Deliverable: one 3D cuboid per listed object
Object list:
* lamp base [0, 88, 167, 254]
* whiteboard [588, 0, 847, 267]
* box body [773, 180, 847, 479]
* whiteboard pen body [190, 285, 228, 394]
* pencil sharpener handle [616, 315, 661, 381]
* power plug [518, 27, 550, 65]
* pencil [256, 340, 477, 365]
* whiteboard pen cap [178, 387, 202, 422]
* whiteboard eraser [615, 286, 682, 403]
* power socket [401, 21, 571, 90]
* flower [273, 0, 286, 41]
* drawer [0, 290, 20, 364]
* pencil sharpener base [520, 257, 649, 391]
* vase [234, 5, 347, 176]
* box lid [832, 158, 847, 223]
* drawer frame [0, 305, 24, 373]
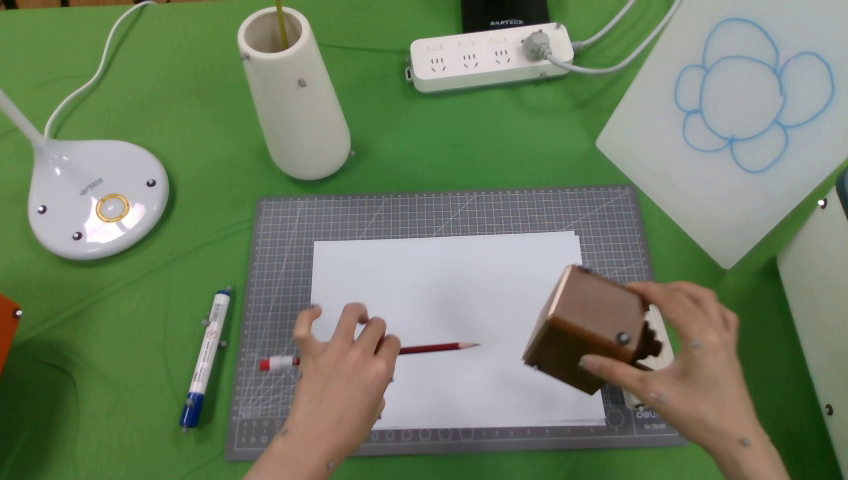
[{"bbox_3d":[-0.398,-0.096,0.650,0.178,0.182,0.160,28,66,18],"label":"lamp base"},{"bbox_3d":[0.356,-0.160,0.631,0.144,0.307,0.215,-23,62,-31],"label":"whiteboard"},{"bbox_3d":[0.502,0.115,0.534,0.254,0.161,0.361,-3,63,0],"label":"box body"},{"bbox_3d":[-0.225,0.112,0.629,0.017,0.017,0.139,2,60,3],"label":"whiteboard pen body"},{"bbox_3d":[0.181,0.092,0.495,0.030,0.068,0.036,25,53,9],"label":"pencil sharpener handle"},{"bbox_3d":[0.137,-0.236,0.766,0.035,0.053,0.072,2,65,3],"label":"power plug"},{"bbox_3d":[-0.049,0.098,0.537,0.194,0.012,0.012,-4,63,-3],"label":"pencil"},{"bbox_3d":[-0.231,0.162,0.599,0.018,0.018,0.033,2,57,3],"label":"whiteboard pen cap"},{"bbox_3d":[0.214,0.105,0.610,0.055,0.042,0.111,-7,63,-4],"label":"whiteboard eraser"},{"bbox_3d":[0.083,-0.244,0.798,0.227,0.033,0.071,-7,64,-3],"label":"power socket"},{"bbox_3d":[-0.141,-0.210,0.600,0.038,0.365,0.043,-13,45,-13],"label":"flower"},{"bbox_3d":[-0.510,0.132,0.543,0.212,0.074,0.193,1,64,1],"label":"drawer"},{"bbox_3d":[0.135,0.075,0.514,0.076,0.108,0.061,25,60,9],"label":"pencil sharpener base"},{"bbox_3d":[-0.145,-0.156,0.665,0.098,0.201,0.097,-1,62,3],"label":"vase"},{"bbox_3d":[0.500,0.078,0.468,0.263,0.015,0.368,-2,63,0],"label":"box lid"},{"bbox_3d":[-0.516,0.134,0.544,0.214,0.083,0.200,1,64,-1],"label":"drawer frame"}]
